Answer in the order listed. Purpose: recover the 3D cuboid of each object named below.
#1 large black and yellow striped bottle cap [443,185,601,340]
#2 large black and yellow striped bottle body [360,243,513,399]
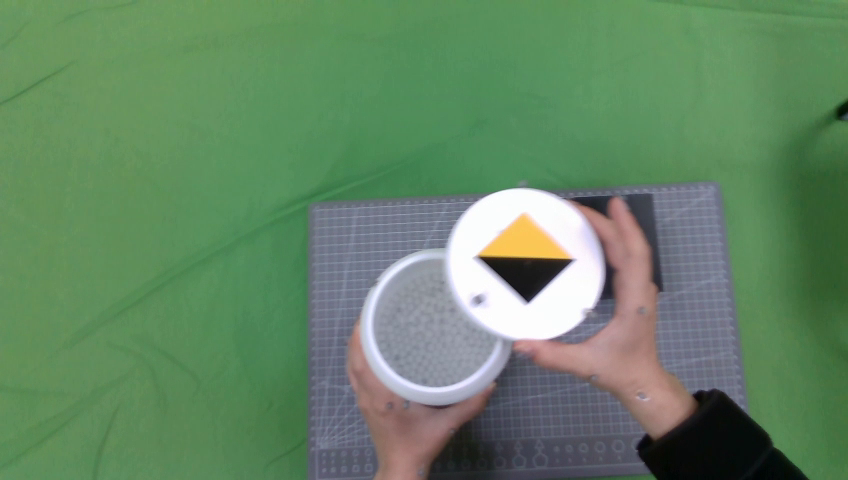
[{"bbox_3d":[0.071,0.016,0.443,0.115,0.019,0.114,1,76,-3],"label":"large black and yellow striped bottle cap"},{"bbox_3d":[0.013,0.075,0.549,0.131,0.184,0.130,0,79,2],"label":"large black and yellow striped bottle body"}]
